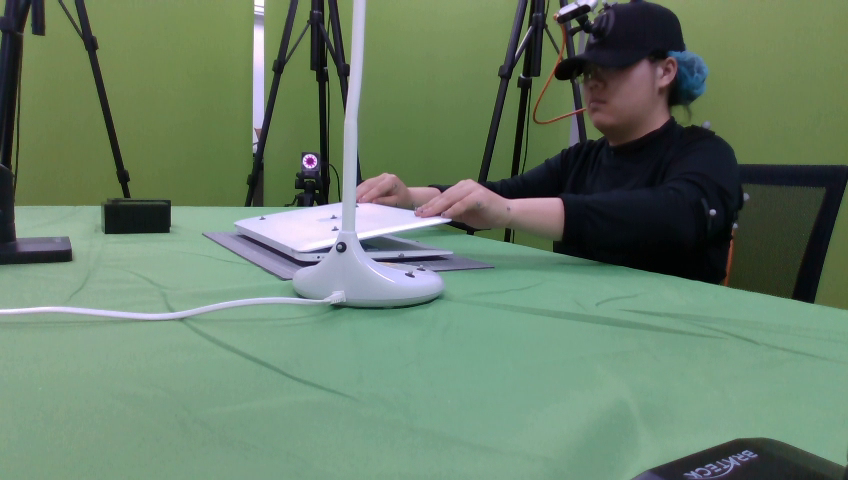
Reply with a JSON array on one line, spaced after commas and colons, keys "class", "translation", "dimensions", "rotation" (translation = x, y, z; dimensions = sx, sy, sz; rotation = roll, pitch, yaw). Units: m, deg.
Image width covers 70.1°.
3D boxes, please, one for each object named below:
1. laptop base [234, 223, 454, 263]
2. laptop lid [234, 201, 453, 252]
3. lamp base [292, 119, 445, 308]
[{"class": "laptop base", "translation": [-0.143, 0.004, 0.957], "dimensions": [0.237, 0.023, 0.352], "rotation": [2, 7, -31]}, {"class": "laptop lid", "translation": [-0.142, -0.031, 0.952], "dimensions": [0.243, 0.013, 0.355], "rotation": [-11, 13, -28]}, {"class": "lamp base", "translation": [-0.056, -0.030, 0.616], "dimensions": [0.160, 0.180, 0.179], "rotation": [3, 10, 8]}]
